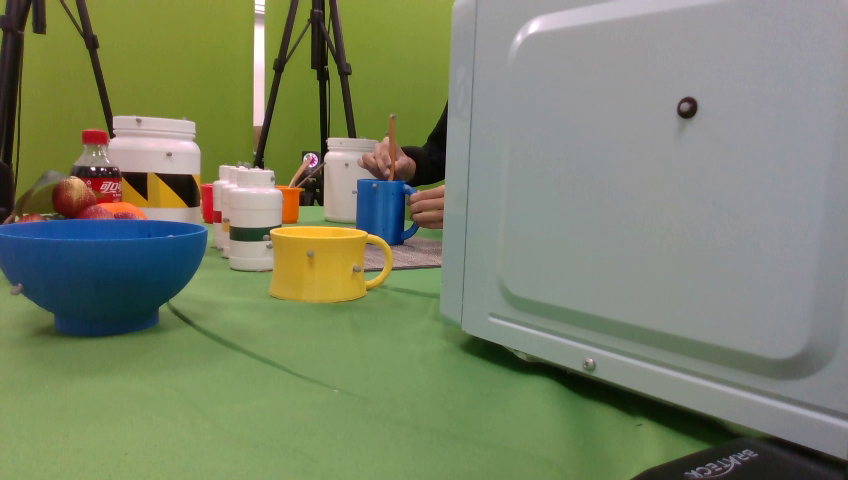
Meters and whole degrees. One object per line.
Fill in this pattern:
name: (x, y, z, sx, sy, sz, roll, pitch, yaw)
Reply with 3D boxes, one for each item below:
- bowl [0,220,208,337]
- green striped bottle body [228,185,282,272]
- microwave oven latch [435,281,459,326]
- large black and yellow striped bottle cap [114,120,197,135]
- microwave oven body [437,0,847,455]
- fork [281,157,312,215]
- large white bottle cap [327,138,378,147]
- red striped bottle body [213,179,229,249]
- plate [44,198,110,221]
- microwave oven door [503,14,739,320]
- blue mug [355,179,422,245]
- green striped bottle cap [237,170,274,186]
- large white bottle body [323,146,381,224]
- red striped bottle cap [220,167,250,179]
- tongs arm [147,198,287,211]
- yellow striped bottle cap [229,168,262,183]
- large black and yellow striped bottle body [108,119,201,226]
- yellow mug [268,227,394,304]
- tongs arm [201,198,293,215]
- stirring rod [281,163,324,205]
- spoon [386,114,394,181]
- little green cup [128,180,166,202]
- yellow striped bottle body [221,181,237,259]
bowl: (-0.251, 0.029, 0.479, 0.151, 0.077, 0.151, 2, 7, 0)
green striped bottle body: (-0.208, -0.023, 0.745, 0.063, 0.119, 0.063, 2, 7, 0)
microwave oven latch: (0.044, 0.046, 0.470, 0.079, 0.029, 0.030, -3, 8, -40)
large black and yellow striped bottle cap: (-0.407, -0.171, 0.920, 0.115, 0.019, 0.115, 2, 9, 0)
microwave oven body: (0.279, -0.040, 0.464, 0.444, 0.260, 0.324, -3, 9, -41)
fork: (-0.289, -0.116, 1.321, 0.028, 0.019, 0.207, 6, 51, 19)
large white bottle cap: (-0.160, -0.218, 1.357, 0.115, 0.018, 0.115, 2, 8, 0)
red striped bottle body: (-0.284, -0.048, 0.909, 0.063, 0.119, 0.063, 3, 10, 0)
plate: (-0.617, -0.056, 1.179, 0.209, 0.038, 0.209, 3, 7, 0)
microwave oven door: (0.218, -0.065, 0.600, 0.358, 0.243, 0.039, -4, 10, -41)
blue mug: (-0.058, -0.047, 1.007, 0.116, 0.106, 0.082, 5, 8, 19)
green striped bottle cap: (-0.205, -0.075, 0.737, 0.044, 0.020, 0.044, 1, 6, 0)
large white bottle body: (-0.163, -0.134, 1.369, 0.131, 0.184, 0.130, 2, 8, 0)
red striped bottle cap: (-0.281, -0.100, 0.901, 0.044, 0.017, 0.044, -1, 5, 0)
tongs arm: (-0.504, -0.091, 1.513, 0.028, 0.028, 0.389, 0, 4, 37)
yellow striped bottle cap: (-0.240, -0.086, 0.816, 0.044, 0.018, 0.044, -3, 5, 1)
large black and yellow striped bottle body: (-0.412, -0.088, 0.930, 0.131, 0.184, 0.130, 3, 7, 0)
yellow mug: (-0.094, 0.023, 0.630, 0.131, 0.064, 0.099, 0, 7, -22)
tongs arm: (-0.423, -0.084, 1.472, 0.050, 0.026, 0.386, 2, 6, 21)
stirring rod: (-0.278, -0.105, 1.293, 0.176, 0.006, 0.014, -47, 25, -18)
spoon: (-0.060, -0.111, 1.000, 0.022, 0.193, 0.041, 7, -2, -19)
little green cup: (-0.485, -0.087, 1.062, 0.061, 0.038, 0.061, -1, 6, 0)
yellow striped bottle body: (-0.244, -0.035, 0.823, 0.063, 0.120, 0.063, 2, 8, 0)
